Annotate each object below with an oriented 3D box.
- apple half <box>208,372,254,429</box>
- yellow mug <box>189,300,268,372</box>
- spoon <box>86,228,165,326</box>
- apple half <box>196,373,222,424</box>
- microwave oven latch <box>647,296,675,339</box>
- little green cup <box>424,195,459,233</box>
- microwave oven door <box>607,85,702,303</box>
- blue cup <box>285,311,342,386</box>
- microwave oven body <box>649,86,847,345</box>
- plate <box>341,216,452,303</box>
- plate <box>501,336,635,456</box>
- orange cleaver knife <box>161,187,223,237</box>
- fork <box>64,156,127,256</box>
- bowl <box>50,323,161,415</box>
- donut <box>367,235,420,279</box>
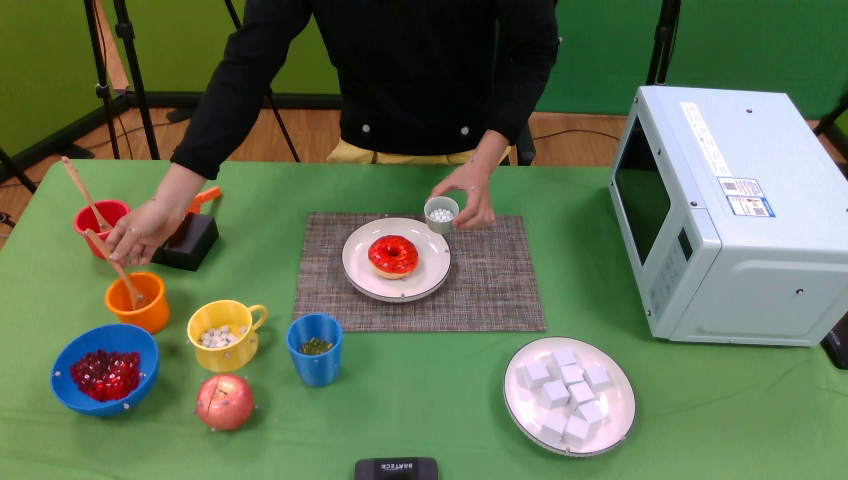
[{"bbox_3d":[-0.283,0.244,0.908,0.053,0.075,0.080,7,42,-1],"label":"apple half"},{"bbox_3d":[-0.315,0.149,1.001,0.131,0.064,0.099,-32,55,-31],"label":"yellow mug"},{"bbox_3d":[-0.495,0.061,1.005,0.021,0.194,0.041,-13,21,42],"label":"spoon"},{"bbox_3d":[-0.322,0.239,0.906,0.033,0.081,0.081,7,46,0],"label":"apple half"},{"bbox_3d":[0.413,0.134,1.061,0.030,0.029,0.078,5,45,2],"label":"microwave oven latch"},{"bbox_3d":[0.031,-0.044,1.070,0.061,0.039,0.061,-1,61,3],"label":"little green cup"},{"bbox_3d":[0.423,-0.094,1.140,0.039,0.245,0.353,2,46,-1],"label":"microwave oven door"},{"bbox_3d":[-0.170,0.180,0.958,0.093,0.101,0.092,2,44,-1],"label":"blue cup"},{"bbox_3d":[0.568,-0.053,1.118,0.326,0.261,0.439,2,45,-1],"label":"microwave oven body"},{"bbox_3d":[-0.052,0.039,1.140,0.209,0.038,0.208,2,46,-2],"label":"plate"},{"bbox_3d":[0.225,0.248,0.963,0.208,0.039,0.206,2,46,-2],"label":"plate"},{"bbox_3d":[-0.448,-0.058,1.180,0.012,0.077,0.211,13,17,6],"label":"orange cleaver knife"},{"bbox_3d":[-0.614,-0.064,1.129,0.028,0.018,0.207,-30,97,-16],"label":"fork"},{"bbox_3d":[-0.472,0.209,0.924,0.151,0.077,0.150,3,45,-2],"label":"bowl"},{"bbox_3d":[-0.056,0.032,1.132,0.099,0.048,0.098,3,45,-3],"label":"donut"}]
